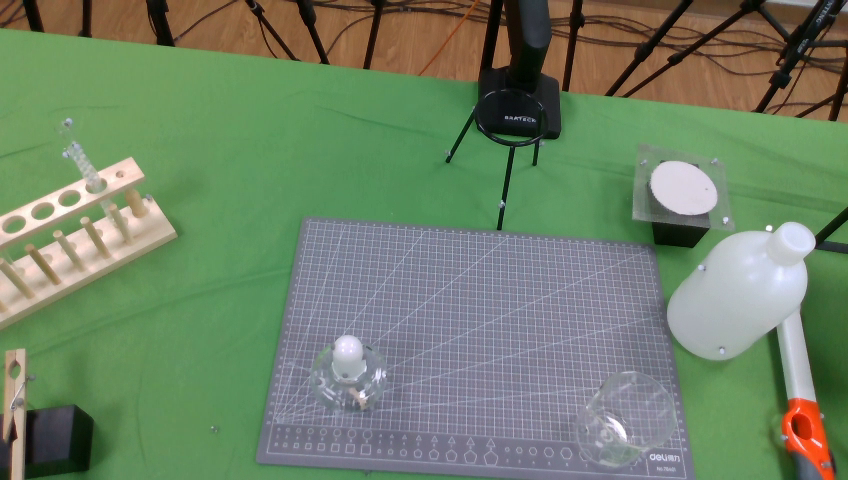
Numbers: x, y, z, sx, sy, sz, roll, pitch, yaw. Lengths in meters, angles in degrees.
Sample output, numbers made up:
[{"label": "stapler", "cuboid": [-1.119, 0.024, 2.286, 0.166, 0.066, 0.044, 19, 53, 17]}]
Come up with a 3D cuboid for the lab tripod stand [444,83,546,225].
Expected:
[{"label": "lab tripod stand", "cuboid": [0.096, -0.114, 0.759, 0.148, 0.132, 0.147, 3, 59, -5]}]

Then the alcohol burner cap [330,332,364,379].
[{"label": "alcohol burner cap", "cuboid": [-0.074, 0.107, 0.572, 0.034, 0.048, 0.033, 2, 52, -2]}]

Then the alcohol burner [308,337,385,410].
[{"label": "alcohol burner", "cuboid": [-0.077, 0.126, 0.603, 0.078, 0.120, 0.077, 4, 57, -5]}]

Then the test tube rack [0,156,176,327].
[{"label": "test tube rack", "cuboid": [-0.410, 0.008, 0.662, 0.242, 0.086, 0.066, -32, 66, -22]}]

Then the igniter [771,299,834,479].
[{"label": "igniter", "cuboid": [0.415, 0.183, 0.670, 0.057, 0.025, 0.274, 16, 57, -8]}]

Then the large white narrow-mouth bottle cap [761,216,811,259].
[{"label": "large white narrow-mouth bottle cap", "cuboid": [0.344, -0.003, 0.577, 0.038, 0.024, 0.037, 2, 58, -3]}]

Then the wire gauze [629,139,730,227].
[{"label": "wire gauze", "cuboid": [0.323, -0.072, 0.771, 0.121, 0.011, 0.124, 11, 58, 2]}]

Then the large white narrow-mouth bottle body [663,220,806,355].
[{"label": "large white narrow-mouth bottle body", "cuboid": [0.338, 0.044, 0.649, 0.102, 0.196, 0.101, 2, 58, -3]}]

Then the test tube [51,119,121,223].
[{"label": "test tube", "cuboid": [-0.362, -0.069, 0.655, 0.017, 0.151, 0.017, 1, 52, -1]}]

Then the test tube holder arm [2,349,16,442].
[{"label": "test tube holder arm", "cuboid": [-0.385, 0.144, 0.564, 0.010, 0.015, 0.087, -10, 60, -21]}]

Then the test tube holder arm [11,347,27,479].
[{"label": "test tube holder arm", "cuboid": [-0.366, 0.180, 0.545, 0.013, 0.015, 0.176, -10, 60, -21]}]

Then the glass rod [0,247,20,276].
[{"label": "glass rod", "cuboid": [-0.444, -0.024, 0.601, 0.008, 0.201, 0.008, 4, 49, -5]}]

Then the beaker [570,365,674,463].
[{"label": "beaker", "cuboid": [0.189, 0.178, 0.605, 0.084, 0.101, 0.073, 2, 58, -3]}]
